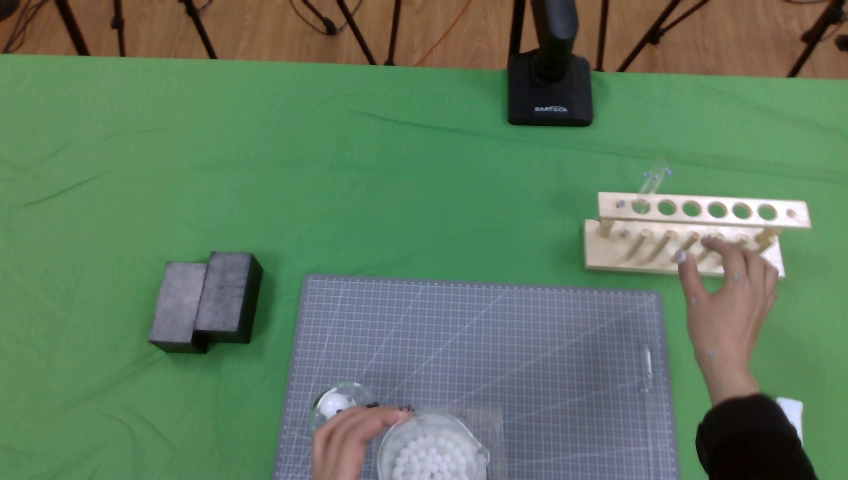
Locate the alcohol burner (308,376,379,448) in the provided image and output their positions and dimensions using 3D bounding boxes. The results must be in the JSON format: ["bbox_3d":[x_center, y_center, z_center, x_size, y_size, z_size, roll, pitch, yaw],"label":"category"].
[{"bbox_3d":[-0.088,0.180,0.649,0.078,0.120,0.077,0,64,1],"label":"alcohol burner"}]

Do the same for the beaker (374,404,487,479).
[{"bbox_3d":[0.006,0.177,0.483,0.084,0.101,0.073,-7,63,-3],"label":"beaker"}]

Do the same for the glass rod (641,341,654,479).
[{"bbox_3d":[0.254,0.213,0.686,0.008,0.008,0.198,4,69,3],"label":"glass rod"}]

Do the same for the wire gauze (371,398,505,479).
[{"bbox_3d":[0.011,0.206,0.552,0.125,0.011,0.120,0,65,1],"label":"wire gauze"}]

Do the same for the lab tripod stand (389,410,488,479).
[{"bbox_3d":[0.013,0.236,0.612,0.148,0.132,0.147,-1,65,3],"label":"lab tripod stand"}]

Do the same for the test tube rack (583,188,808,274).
[{"bbox_3d":[0.327,-0.010,0.746,0.242,0.086,0.066,3,66,3],"label":"test tube rack"}]

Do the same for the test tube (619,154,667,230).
[{"bbox_3d":[0.254,-0.052,0.712,0.017,0.151,0.017,-1,62,2],"label":"test tube"}]

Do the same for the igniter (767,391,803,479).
[{"bbox_3d":[0.385,0.299,0.639,0.057,0.025,0.274,14,67,-4],"label":"igniter"}]

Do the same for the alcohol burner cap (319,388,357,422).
[{"bbox_3d":[-0.089,0.166,0.616,0.034,0.048,0.033,-2,69,6],"label":"alcohol burner cap"}]
